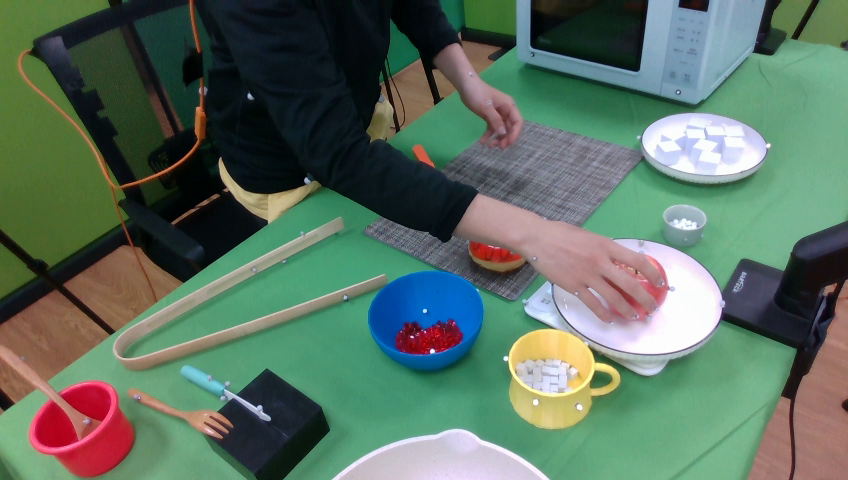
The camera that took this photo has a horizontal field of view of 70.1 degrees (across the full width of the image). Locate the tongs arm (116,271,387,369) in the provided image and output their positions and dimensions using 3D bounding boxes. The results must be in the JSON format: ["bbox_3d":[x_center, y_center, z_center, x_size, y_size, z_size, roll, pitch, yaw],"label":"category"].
[{"bbox_3d":[-0.237,0.112,0.868,0.389,0.028,0.028,-18,47,-12],"label":"tongs arm"}]

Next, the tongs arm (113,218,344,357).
[{"bbox_3d":[-0.280,0.067,0.927,0.386,0.026,0.050,-28,47,-23],"label":"tongs arm"}]

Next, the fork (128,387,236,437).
[{"bbox_3d":[-0.305,0.207,0.744,0.206,0.019,0.028,3,40,36],"label":"fork"}]

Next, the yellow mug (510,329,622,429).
[{"bbox_3d":[0.169,0.165,0.721,0.130,0.064,0.099,0,40,8],"label":"yellow mug"}]

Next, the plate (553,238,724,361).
[{"bbox_3d":[0.273,0.078,0.784,0.209,0.038,0.208,-4,41,4],"label":"plate"}]

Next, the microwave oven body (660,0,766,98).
[{"bbox_3d":[0.472,-0.513,1.317,0.438,0.261,0.327,26,51,34],"label":"microwave oven body"}]

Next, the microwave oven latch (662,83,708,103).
[{"bbox_3d":[0.518,-0.296,1.204,0.078,0.029,0.030,28,52,35],"label":"microwave oven latch"}]

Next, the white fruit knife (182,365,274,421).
[{"bbox_3d":[-0.245,0.188,0.747,0.205,0.027,0.016,9,40,41],"label":"white fruit knife"}]

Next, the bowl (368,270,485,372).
[{"bbox_3d":[0.007,0.119,0.791,0.151,0.077,0.150,-5,39,4],"label":"bowl"}]

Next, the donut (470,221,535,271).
[{"bbox_3d":[0.119,0.008,0.923,0.099,0.048,0.098,-4,39,4],"label":"donut"}]

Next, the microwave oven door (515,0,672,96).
[{"bbox_3d":[0.343,-0.455,1.259,0.353,0.245,0.039,26,51,33],"label":"microwave oven door"}]

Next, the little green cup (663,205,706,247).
[{"bbox_3d":[0.396,-0.020,0.926,0.061,0.039,0.061,-4,40,4],"label":"little green cup"}]

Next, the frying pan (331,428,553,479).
[{"bbox_3d":[-0.089,0.306,0.564,0.487,0.103,0.306,10,41,7],"label":"frying pan"}]

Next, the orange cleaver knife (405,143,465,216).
[{"bbox_3d":[0.005,-0.113,1.103,0.077,0.012,0.209,-24,45,-9],"label":"orange cleaver knife"}]

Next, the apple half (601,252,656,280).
[{"bbox_3d":[0.263,0.042,0.784,0.081,0.081,0.032,-8,44,0],"label":"apple half"}]

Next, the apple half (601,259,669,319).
[{"bbox_3d":[0.267,0.068,0.756,0.081,0.075,0.053,-6,44,-3],"label":"apple half"}]

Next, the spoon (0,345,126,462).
[{"bbox_3d":[-0.434,0.192,0.720,0.194,0.021,0.042,47,53,-6],"label":"spoon"}]

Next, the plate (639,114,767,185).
[{"bbox_3d":[0.489,-0.157,1.074,0.207,0.039,0.206,-4,40,4],"label":"plate"}]

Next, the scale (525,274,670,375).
[{"bbox_3d":[0.254,0.092,0.821,0.199,0.032,0.149,28,51,35],"label":"scale"}]
